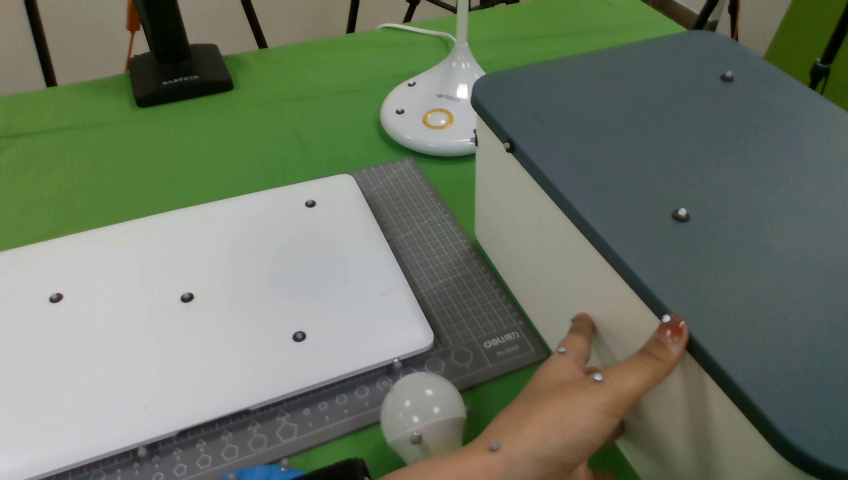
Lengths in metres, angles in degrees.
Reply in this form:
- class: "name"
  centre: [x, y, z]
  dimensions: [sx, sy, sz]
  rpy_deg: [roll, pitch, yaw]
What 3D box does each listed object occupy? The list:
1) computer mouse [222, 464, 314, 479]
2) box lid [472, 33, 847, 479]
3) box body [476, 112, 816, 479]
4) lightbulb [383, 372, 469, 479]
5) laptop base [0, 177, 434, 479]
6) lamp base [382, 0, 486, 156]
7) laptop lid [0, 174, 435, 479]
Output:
- class: "computer mouse"
  centre: [-0.107, 0.190, 0.371]
  dimensions: [0.063, 0.041, 0.116]
  rpy_deg: [1, 40, 2]
- class: "box lid"
  centre: [0.219, -0.041, 0.412]
  dimensions: [0.264, 0.015, 0.367]
  rpy_deg: [-16, 48, -18]
- class: "box body"
  centre: [0.220, 0.017, 0.468]
  dimensions: [0.255, 0.162, 0.359]
  rpy_deg: [-16, 46, -17]
- class: "lightbulb"
  centre: [0.008, 0.143, 0.414]
  dimensions: [0.059, 0.060, 0.106]
  rpy_deg: [-13, 62, -14]
- class: "laptop base"
  centre: [-0.194, 0.058, 0.517]
  dimensions: [0.355, 0.023, 0.233]
  rpy_deg: [-15, 50, -17]
- class: "lamp base"
  centre: [0.031, -0.217, 0.692]
  dimensions: [0.160, 0.182, 0.178]
  rpy_deg: [8, 42, 7]
- class: "laptop lid"
  centre: [-0.193, 0.052, 0.507]
  dimensions: [0.357, 0.013, 0.239]
  rpy_deg: [-14, 48, -15]
